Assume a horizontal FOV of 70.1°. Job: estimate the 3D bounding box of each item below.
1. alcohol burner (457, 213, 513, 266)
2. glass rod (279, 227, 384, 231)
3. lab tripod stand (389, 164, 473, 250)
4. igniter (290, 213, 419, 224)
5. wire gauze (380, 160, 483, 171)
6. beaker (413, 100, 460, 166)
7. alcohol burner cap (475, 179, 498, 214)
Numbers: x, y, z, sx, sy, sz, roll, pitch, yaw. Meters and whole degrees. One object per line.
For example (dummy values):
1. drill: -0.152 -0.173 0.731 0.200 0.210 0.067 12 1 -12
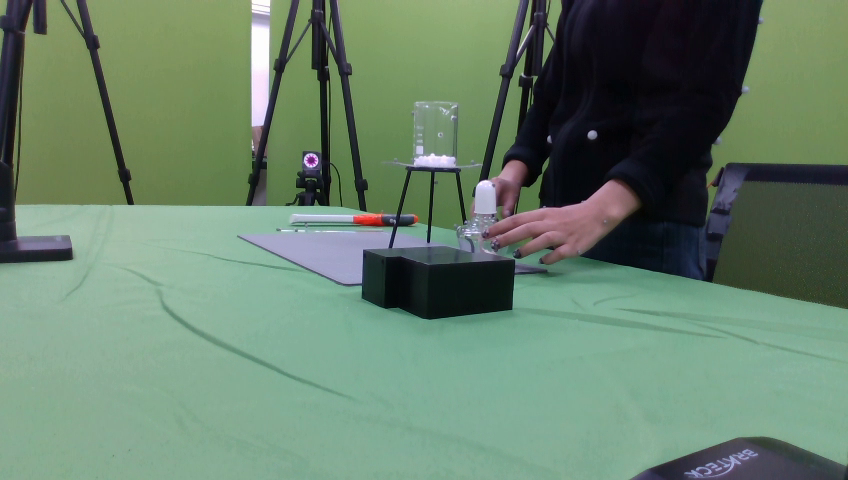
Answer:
1. alcohol burner: 0.085 -0.025 0.837 0.078 0.119 0.078 0 8 0
2. glass rod: -0.175 -0.021 1.161 0.200 0.008 0.008 1 7 -15
3. lab tripod stand: 0.011 -0.054 0.960 0.148 0.131 0.148 2 9 0
4. igniter: -0.143 -0.046 1.288 0.278 0.025 0.057 -1 -3 -24
5. wire gauze: 0.011 -0.119 0.951 0.122 0.011 0.124 -5 12 -32
6. beaker: 0.020 -0.167 0.953 0.073 0.100 0.084 6 9 26
7. alcohol burner cap: 0.086 -0.061 0.833 0.034 0.048 0.034 0 11 0
